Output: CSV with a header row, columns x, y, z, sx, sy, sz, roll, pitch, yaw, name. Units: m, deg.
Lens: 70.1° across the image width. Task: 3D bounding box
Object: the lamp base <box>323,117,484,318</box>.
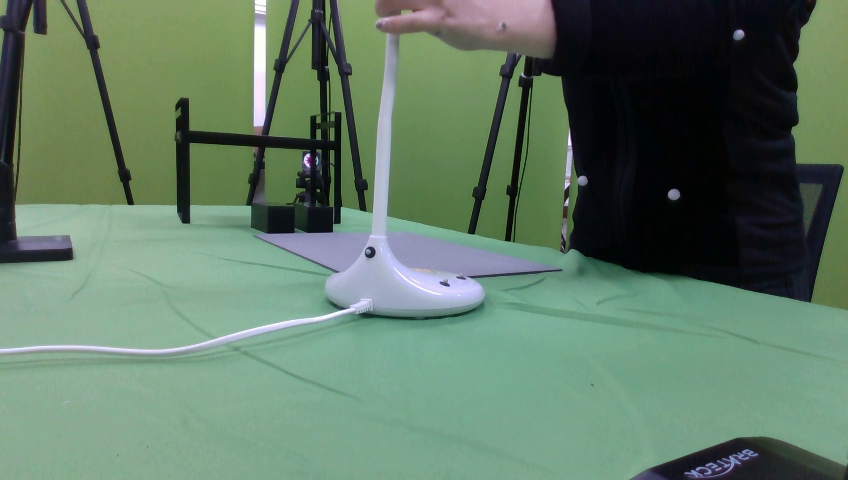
x,y,z,sx,sy,sz,roll,pitch,yaw,name
-0.021,-0.025,0.582,0.160,0.180,0.179,5,10,16,lamp base
